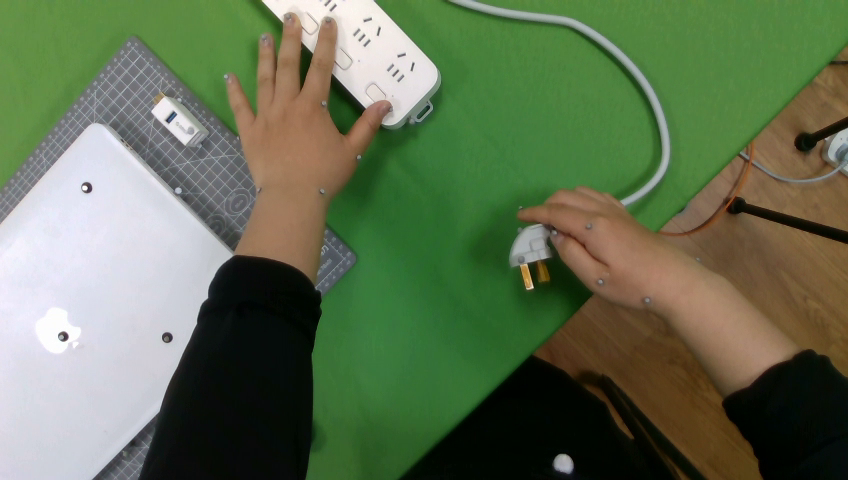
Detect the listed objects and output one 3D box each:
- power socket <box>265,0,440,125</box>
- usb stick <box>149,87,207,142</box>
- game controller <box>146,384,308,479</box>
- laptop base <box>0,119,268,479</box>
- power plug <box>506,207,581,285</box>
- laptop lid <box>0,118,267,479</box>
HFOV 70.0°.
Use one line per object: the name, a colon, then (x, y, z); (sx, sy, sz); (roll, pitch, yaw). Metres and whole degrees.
power socket: (-0.078, -0.198, 0.538); (0.072, 0.032, 0.227); (-43, 91, 10)
usb stick: (-0.232, -0.118, 0.560); (0.059, 0.027, 0.021); (46, 100, 2)
game controller: (-0.197, 0.213, 0.587); (0.155, 0.051, 0.097); (-44, 87, 7)
laptop base: (-0.349, 0.084, 0.598); (0.354, 0.023, 0.236); (-44, 94, 7)
power plug: (0.103, 0.004, 0.499); (0.072, 0.035, 0.052); (-17, 89, 5)
laptop lid: (-0.349, 0.087, 0.586); (0.357, 0.013, 0.242); (-42, 94, 8)
